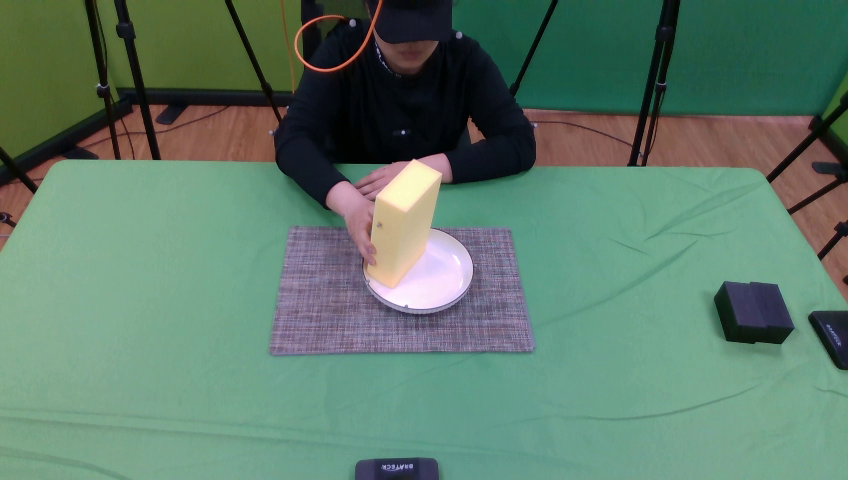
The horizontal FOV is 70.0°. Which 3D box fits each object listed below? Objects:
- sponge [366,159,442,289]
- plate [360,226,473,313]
[{"bbox_3d":[-0.038,-0.025,1.071,0.061,0.208,0.118,29,49,14],"label":"sponge"},{"bbox_3d":[-0.014,0.057,1.126,0.208,0.039,0.206,2,46,-2],"label":"plate"}]
